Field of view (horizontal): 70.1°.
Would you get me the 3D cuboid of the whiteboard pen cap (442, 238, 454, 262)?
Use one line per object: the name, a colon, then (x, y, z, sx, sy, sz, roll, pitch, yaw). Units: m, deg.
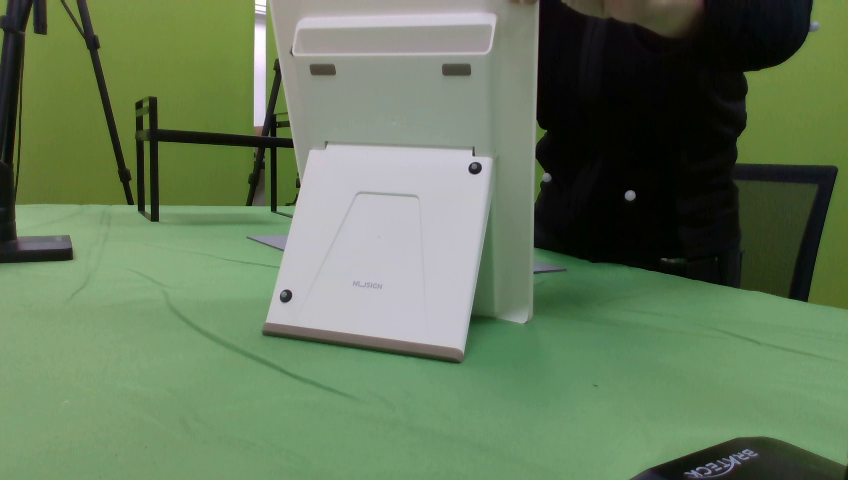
whiteboard pen cap: (0.033, 0.014, 0.851, 0.018, 0.033, 0.018, 3, 5, 0)

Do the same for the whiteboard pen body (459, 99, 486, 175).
whiteboard pen body: (0.044, -0.096, 0.557, 0.017, 0.017, 0.140, 4, 37, 8)

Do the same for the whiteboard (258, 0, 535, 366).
whiteboard: (-0.037, -0.041, 0.456, 0.216, 0.305, 0.144, 5, 27, 19)
